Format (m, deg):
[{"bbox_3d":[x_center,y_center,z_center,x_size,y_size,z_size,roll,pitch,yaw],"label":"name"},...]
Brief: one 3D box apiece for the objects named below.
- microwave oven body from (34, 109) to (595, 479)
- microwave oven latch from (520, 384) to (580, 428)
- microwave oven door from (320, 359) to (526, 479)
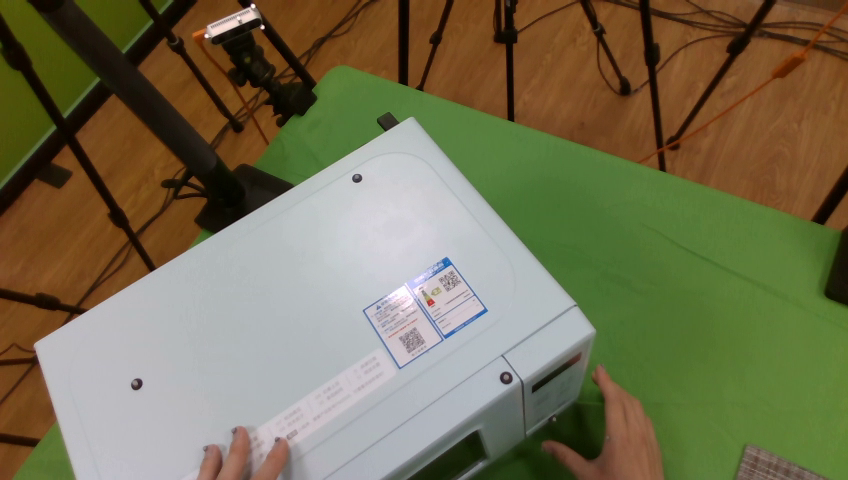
[{"bbox_3d":[-0.101,0.128,0.654,0.442,0.262,0.323,-33,62,-8],"label":"microwave oven body"},{"bbox_3d":[0.141,0.182,0.697,0.079,0.030,0.030,-31,62,-7],"label":"microwave oven latch"},{"bbox_3d":[-0.059,0.251,0.577,0.356,0.246,0.039,-33,61,-8],"label":"microwave oven door"}]
